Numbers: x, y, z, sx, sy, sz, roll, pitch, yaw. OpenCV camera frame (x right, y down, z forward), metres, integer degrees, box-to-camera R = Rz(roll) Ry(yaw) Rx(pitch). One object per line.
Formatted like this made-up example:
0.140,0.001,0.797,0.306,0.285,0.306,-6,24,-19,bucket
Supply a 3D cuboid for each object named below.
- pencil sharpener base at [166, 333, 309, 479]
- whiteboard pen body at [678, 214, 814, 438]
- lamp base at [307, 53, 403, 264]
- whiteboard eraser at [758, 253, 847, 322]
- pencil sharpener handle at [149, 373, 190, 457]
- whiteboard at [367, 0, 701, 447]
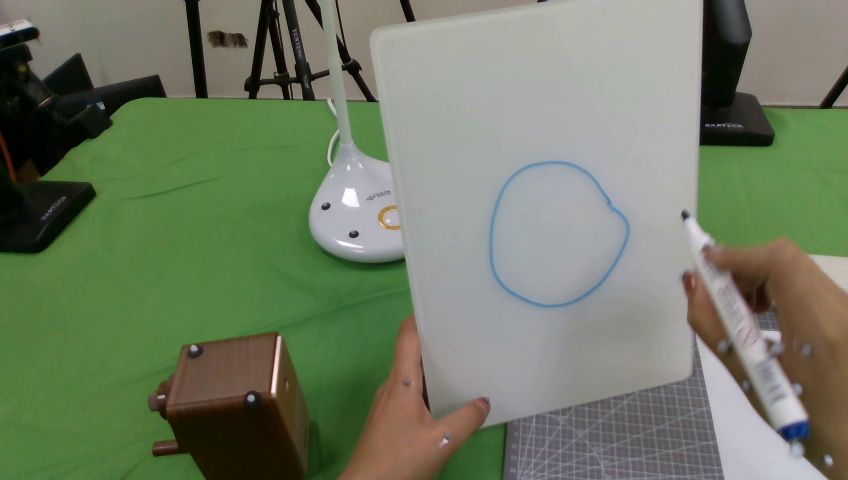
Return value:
-0.131,0.127,0.438,0.077,0.108,0.060,-7,41,-2,pencil sharpener base
0.171,0.040,0.335,0.017,0.017,0.139,-9,55,-5,whiteboard pen body
-0.064,-0.093,0.636,0.161,0.182,0.177,-30,44,-26,lamp base
0.361,0.044,0.535,0.112,0.042,0.055,6,43,12,whiteboard eraser
-0.183,0.126,0.425,0.030,0.068,0.035,-7,28,-2,pencil sharpener handle
0.082,-0.025,0.488,0.217,0.307,0.142,-11,21,-6,whiteboard
